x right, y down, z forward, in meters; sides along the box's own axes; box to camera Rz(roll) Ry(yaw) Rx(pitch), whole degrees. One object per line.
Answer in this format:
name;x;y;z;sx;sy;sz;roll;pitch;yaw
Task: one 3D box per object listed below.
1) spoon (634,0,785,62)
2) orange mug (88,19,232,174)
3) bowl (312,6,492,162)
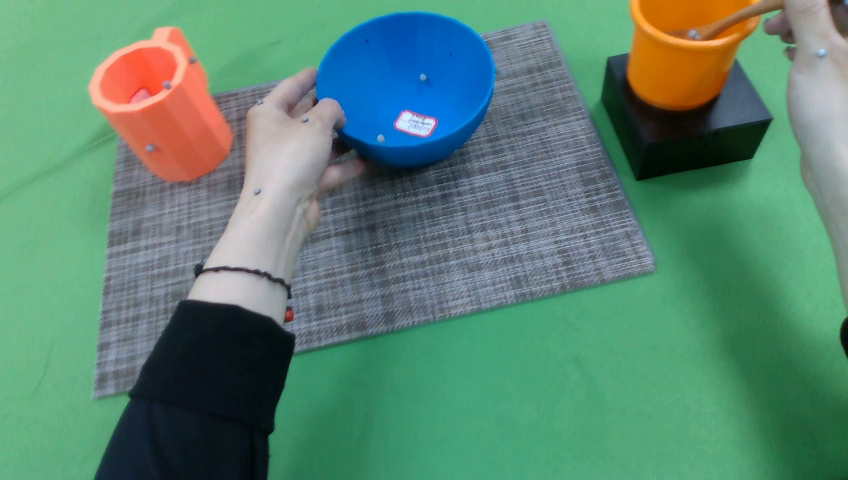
spoon;0.224;-0.159;0.420;0.022;0.192;0.041;34;76;-22
orange mug;-0.236;-0.138;0.560;0.083;0.101;0.125;-2;64;7
bowl;-0.015;-0.121;0.530;0.151;0.077;0.150;-2;61;4
